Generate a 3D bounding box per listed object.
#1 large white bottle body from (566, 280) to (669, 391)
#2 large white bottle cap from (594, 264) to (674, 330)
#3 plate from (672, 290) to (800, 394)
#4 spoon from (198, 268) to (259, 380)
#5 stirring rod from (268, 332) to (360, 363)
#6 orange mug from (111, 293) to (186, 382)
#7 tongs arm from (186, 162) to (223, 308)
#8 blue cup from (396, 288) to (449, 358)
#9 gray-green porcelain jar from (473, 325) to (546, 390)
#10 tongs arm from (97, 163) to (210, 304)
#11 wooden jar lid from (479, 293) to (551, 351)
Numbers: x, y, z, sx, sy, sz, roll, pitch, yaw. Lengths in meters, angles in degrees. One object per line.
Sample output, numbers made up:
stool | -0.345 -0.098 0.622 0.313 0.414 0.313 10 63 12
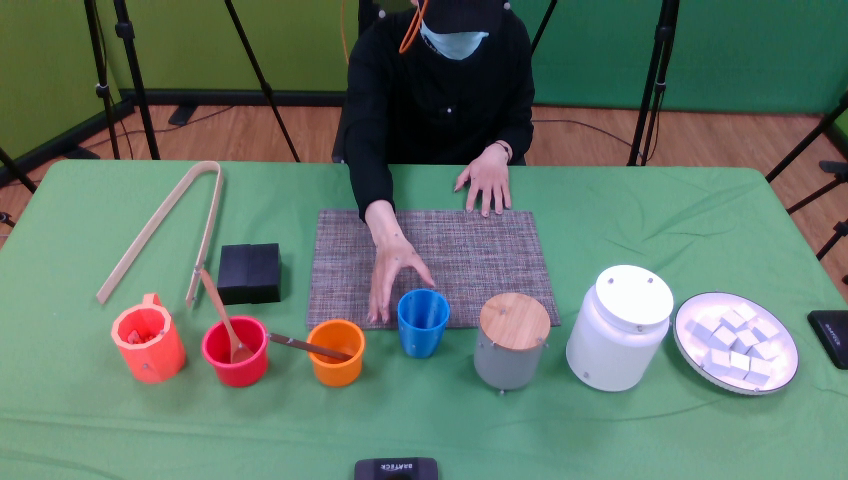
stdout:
large white bottle body | 0.309 0.142 0.968 0.131 0.185 0.130 2 46 -2
large white bottle cap | 0.314 0.083 0.906 0.115 0.018 0.114 2 46 -2
plate | 0.533 0.178 1.050 0.208 0.039 0.206 2 46 -2
spoon | -0.313 0.133 0.962 0.041 0.021 0.194 -24 96 -22
stirring rod | -0.167 0.169 0.942 0.177 0.006 0.014 26 28 -41
orange mug | -0.435 0.149 0.969 0.083 0.101 0.125 -5 51 -8
tongs arm | -0.436 -0.024 1.181 0.051 0.026 0.382 -2 45 0
blue cup | -0.006 0.144 1.002 0.093 0.101 0.092 3 46 -3
gray-green porcelain jar | 0.135 0.170 0.969 0.106 0.127 0.105 2 46 -2
tongs arm | -0.520 -0.028 1.183 0.028 0.028 0.385 5 45 12
wooden jar lid | 0.138 0.127 0.925 0.108 0.021 0.107 1 47 -1
